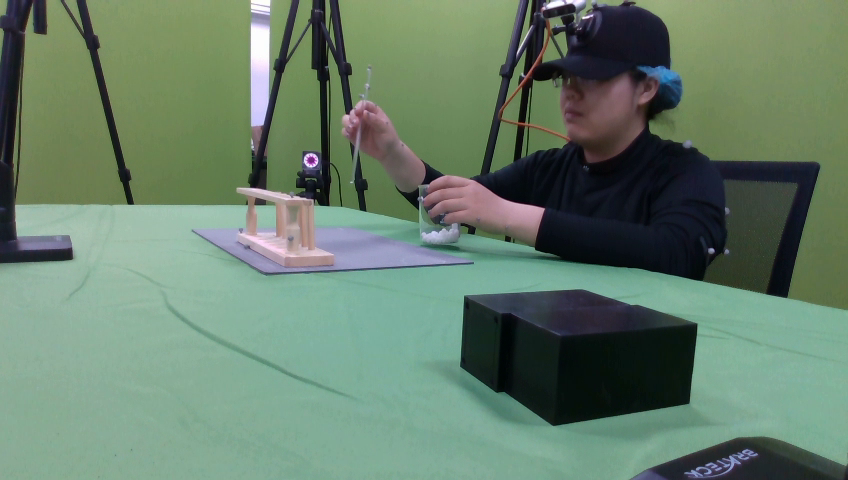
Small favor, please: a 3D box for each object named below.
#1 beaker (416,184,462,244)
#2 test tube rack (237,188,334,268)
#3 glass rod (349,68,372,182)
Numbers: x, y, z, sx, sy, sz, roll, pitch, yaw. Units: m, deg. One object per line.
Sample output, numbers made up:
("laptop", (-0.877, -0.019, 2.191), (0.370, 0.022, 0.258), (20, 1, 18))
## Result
("beaker", (0.030, -0.044, 1.017), (0.083, 0.100, 0.074), (3, 6, 42))
("test tube rack", (-0.202, -0.024, 0.854), (0.067, 0.085, 0.241), (-2, 8, -30))
("glass rod", (-0.106, -0.193, 1.015), (0.008, 0.199, 0.008), (9, -6, 1))
